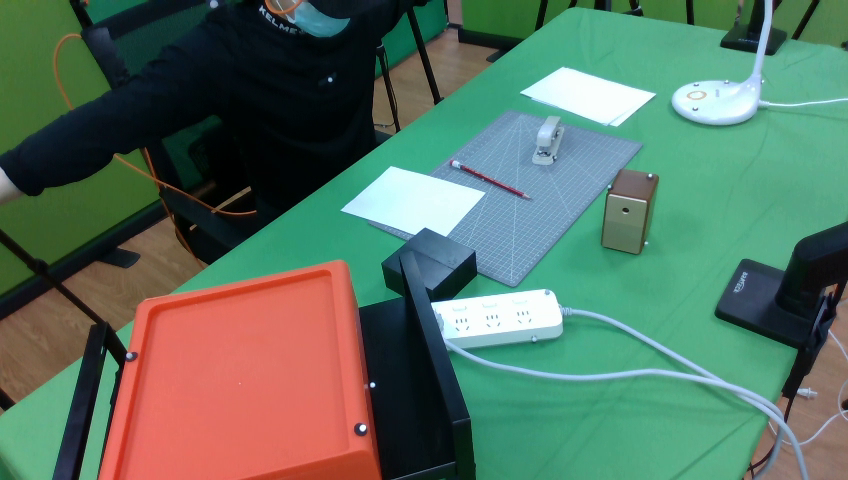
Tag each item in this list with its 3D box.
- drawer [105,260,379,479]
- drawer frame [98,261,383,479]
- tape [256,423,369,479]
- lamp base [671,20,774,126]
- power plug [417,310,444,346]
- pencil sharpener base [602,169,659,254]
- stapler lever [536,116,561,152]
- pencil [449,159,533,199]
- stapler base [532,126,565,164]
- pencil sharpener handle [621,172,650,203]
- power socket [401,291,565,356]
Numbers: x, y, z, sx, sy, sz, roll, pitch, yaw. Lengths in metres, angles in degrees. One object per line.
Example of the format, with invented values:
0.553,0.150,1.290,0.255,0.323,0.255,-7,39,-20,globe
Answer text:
-0.150,0.127,0.525,0.195,0.073,0.210,-11,41,-5,drawer
-0.149,0.129,0.520,0.202,0.083,0.212,-12,41,-6,drawer frame
-0.121,0.263,0.660,0.117,0.053,0.116,-4,40,4,tape
0.581,-0.332,1.154,0.179,0.181,0.160,2,41,7,lamp base
0.006,0.122,0.785,0.035,0.053,0.072,-1,40,8,power plug
0.312,-0.044,0.914,0.061,0.107,0.077,14,45,24,pencil sharpener base
0.236,-0.209,1.140,0.026,0.040,0.118,10,43,18,stapler lever
0.118,-0.110,1.091,0.192,0.012,0.012,30,53,34,pencil
0.238,-0.189,1.155,0.041,0.024,0.130,10,42,17,stapler base
0.328,-0.087,0.941,0.036,0.068,0.030,30,49,7,pencil sharpener handle
0.080,0.112,0.822,0.227,0.033,0.072,-6,41,0,power socket
